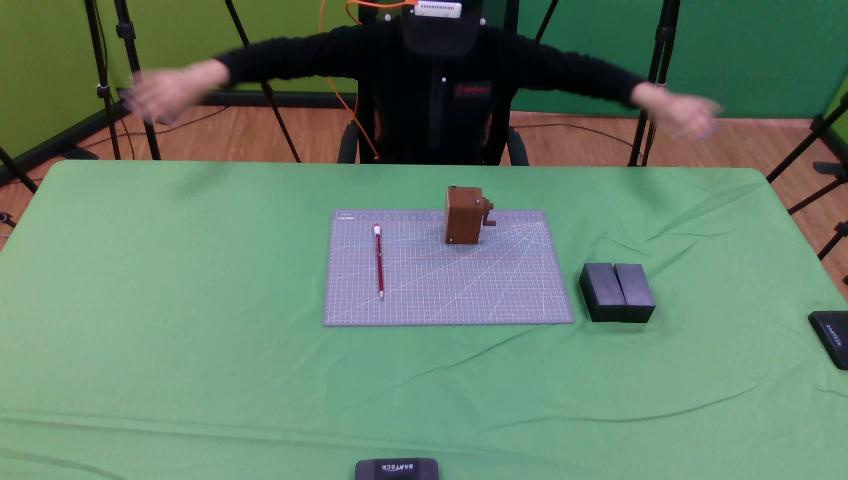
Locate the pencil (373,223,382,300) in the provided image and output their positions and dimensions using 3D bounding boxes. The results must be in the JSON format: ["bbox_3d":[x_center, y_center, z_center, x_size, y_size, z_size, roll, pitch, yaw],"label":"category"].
[{"bbox_3d":[-0.088,0.038,1.160,0.012,0.012,0.192,-2,47,-6],"label":"pencil"}]

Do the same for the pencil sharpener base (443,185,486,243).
[{"bbox_3d":[0.078,-0.049,1.188,0.077,0.107,0.061,1,46,-3],"label":"pencil sharpener base"}]

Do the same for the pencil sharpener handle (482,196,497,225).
[{"bbox_3d":[0.130,-0.056,1.182,0.031,0.068,0.036,1,43,-3],"label":"pencil sharpener handle"}]
